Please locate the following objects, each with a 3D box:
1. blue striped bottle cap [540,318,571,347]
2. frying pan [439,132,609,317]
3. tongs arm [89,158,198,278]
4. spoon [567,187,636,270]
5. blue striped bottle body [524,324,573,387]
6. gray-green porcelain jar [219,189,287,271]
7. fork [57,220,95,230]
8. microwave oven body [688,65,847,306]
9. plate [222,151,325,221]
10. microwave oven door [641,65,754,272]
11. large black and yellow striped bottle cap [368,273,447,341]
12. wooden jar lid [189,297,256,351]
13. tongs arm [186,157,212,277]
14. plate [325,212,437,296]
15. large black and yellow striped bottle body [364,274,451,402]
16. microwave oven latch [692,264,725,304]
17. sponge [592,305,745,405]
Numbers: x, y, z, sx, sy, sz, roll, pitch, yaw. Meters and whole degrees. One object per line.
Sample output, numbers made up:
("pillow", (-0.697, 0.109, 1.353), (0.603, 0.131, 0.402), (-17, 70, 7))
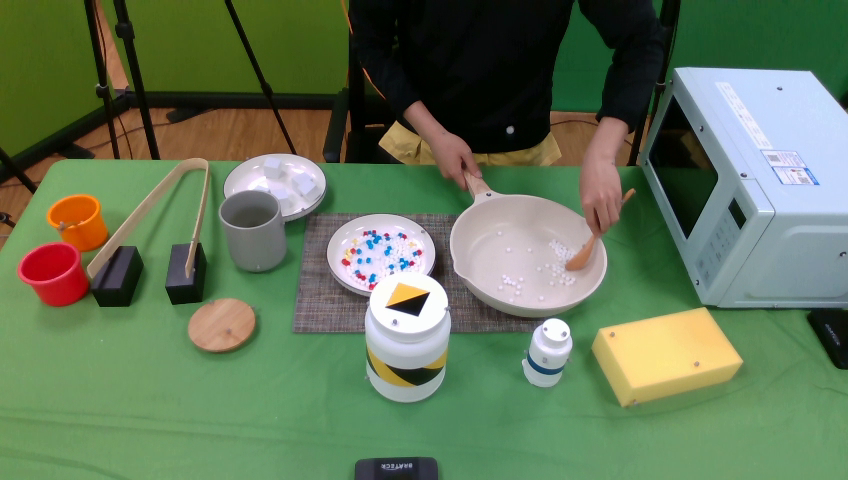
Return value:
("blue striped bottle cap", (0.203, 0.142, 0.933), (0.044, 0.021, 0.044), (3, 49, -3))
("frying pan", (0.149, -0.049, 1.189), (0.307, 0.103, 0.484), (-17, 58, -20))
("tongs arm", (-0.529, -0.058, 1.164), (0.028, 0.028, 0.385), (1, 36, 8))
("spoon", (0.332, -0.020, 1.133), (0.042, 0.194, 0.021), (23, 13, -41))
("blue striped bottle body", (0.200, 0.178, 0.970), (0.063, 0.121, 0.062), (2, 46, -2))
("gray-green porcelain jar", (-0.309, -0.014, 1.113), (0.106, 0.127, 0.105), (2, 46, -2))
("fork", (-0.624, -0.027, 1.086), (0.028, 0.207, 0.018), (-3, 92, -17))
("microwave oven body", (0.669, -0.111, 1.176), (0.326, 0.261, 0.439), (0, 46, -3))
("plate", (-0.310, -0.106, 1.263), (0.208, 0.039, 0.206), (2, 47, -2))
("microwave oven door", (0.524, -0.148, 1.193), (0.039, 0.245, 0.353), (0, 47, -3))
("large black and yellow striped bottle cap", (-0.023, 0.094, 0.875), (0.115, 0.019, 0.114), (2, 45, -2))
("wooden jar lid", (-0.342, 0.145, 1.033), (0.108, 0.021, 0.107), (3, 45, -2))
("tongs arm", (-0.445, -0.058, 1.168), (0.051, 0.026, 0.382), (-5, 37, -6))
("plate", (-0.080, 0.030, 1.143), (0.209, 0.038, 0.208), (3, 46, -2))
("large black and yellow striped bottle body", (-0.026, 0.151, 0.937), (0.131, 0.185, 0.130), (2, 47, -2))
("microwave oven latch", (0.522, 0.081, 1.116), (0.030, 0.029, 0.078), (1, 46, -2))
("sponge", (0.405, 0.190, 1.014), (0.207, 0.061, 0.117), (-10, 48, -13))
